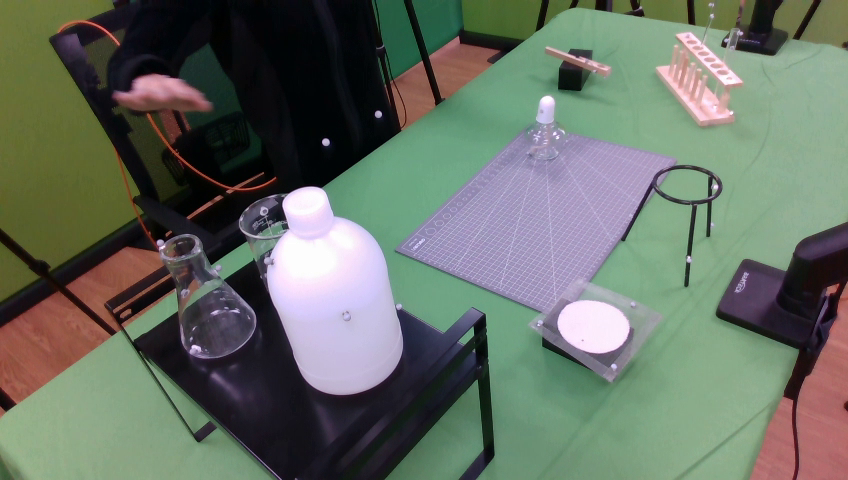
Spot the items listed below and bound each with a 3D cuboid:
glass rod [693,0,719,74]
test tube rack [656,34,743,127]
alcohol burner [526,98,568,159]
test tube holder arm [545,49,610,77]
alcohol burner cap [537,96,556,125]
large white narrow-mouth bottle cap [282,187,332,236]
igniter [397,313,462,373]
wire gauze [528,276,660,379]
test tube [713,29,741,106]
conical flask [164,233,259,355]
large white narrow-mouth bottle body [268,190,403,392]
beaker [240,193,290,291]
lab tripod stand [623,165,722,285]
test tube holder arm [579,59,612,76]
[{"bbox_3d":[0.560,-0.401,1.214,0.008,0.200,0.008,-1,48,2],"label":"glass rod"},{"bbox_3d":[0.553,-0.330,1.233,0.067,0.085,0.241,-7,40,2],"label":"test tube rack"},{"bbox_3d":[0.228,-0.210,1.118,0.078,0.119,0.077,-5,43,5],"label":"alcohol burner"},{"bbox_3d":[0.330,-0.386,1.314,0.013,0.015,0.177,-25,43,-31],"label":"test tube holder arm"},{"bbox_3d":[0.223,-0.237,1.095,0.034,0.048,0.033,-1,42,1],"label":"alcohol burner cap"},{"bbox_3d":[-0.092,-0.022,0.478,0.038,0.024,0.037,-5,40,5],"label":"large white narrow-mouth bottle cap"},{"bbox_3d":[-0.059,0.107,0.862,0.274,0.025,0.057,28,62,34],"label":"igniter"},{"bbox_3d":[0.214,0.103,0.763,0.124,0.011,0.122,30,52,35],"label":"wire gauze"},{"bbox_3d":[0.572,-0.324,1.146,0.017,0.151,0.017,-3,39,3],"label":"test tube"},{"bbox_3d":[-0.216,0.051,0.601,0.075,0.122,0.075,-4,40,4],"label":"conical flask"},{"bbox_3d":[-0.081,0.042,0.534,0.102,0.195,0.101,-5,41,5],"label":"large white narrow-mouth bottle body"},{"bbox_3d":[-0.144,0.009,0.656,0.084,0.101,0.073,-25,43,-20],"label":"beaker"},{"bbox_3d":[0.365,-0.030,0.874,0.148,0.132,0.147,-6,41,6],"label":"lab tripod stand"},{"bbox_3d":[0.363,-0.368,1.289,0.010,0.015,0.087,-25,43,-31],"label":"test tube holder arm"}]
